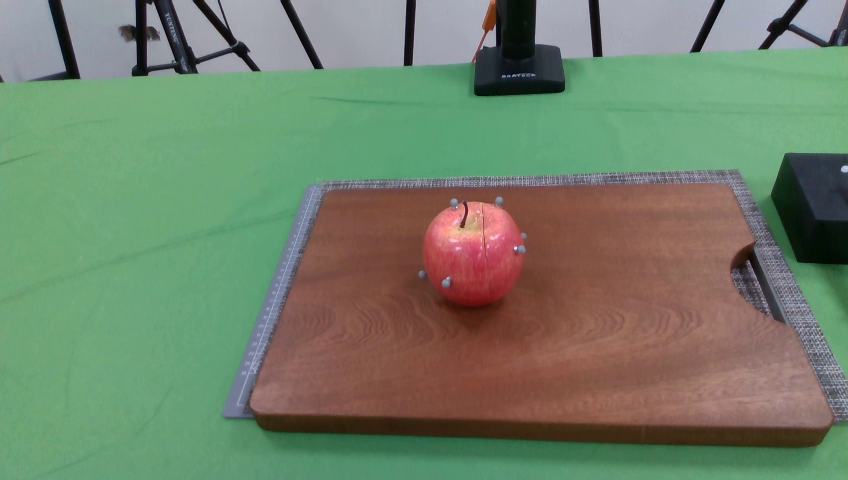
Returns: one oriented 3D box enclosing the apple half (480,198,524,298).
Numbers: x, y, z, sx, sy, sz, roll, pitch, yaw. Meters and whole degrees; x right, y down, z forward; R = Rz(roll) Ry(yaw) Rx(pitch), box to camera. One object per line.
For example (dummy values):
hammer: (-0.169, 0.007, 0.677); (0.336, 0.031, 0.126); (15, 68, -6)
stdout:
apple half: (0.064, 0.007, 0.484); (0.033, 0.082, 0.080); (-6, 42, 7)

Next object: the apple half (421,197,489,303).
apple half: (0.025, 0.010, 0.487); (0.053, 0.075, 0.080); (-6, 45, 7)
